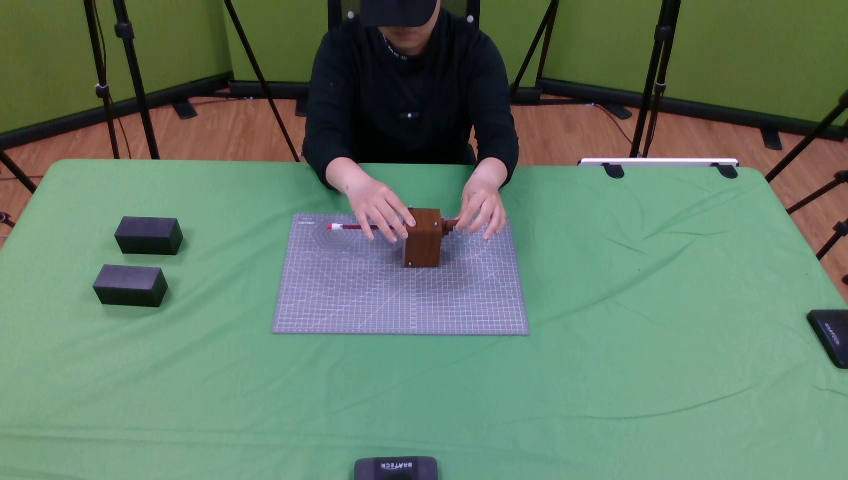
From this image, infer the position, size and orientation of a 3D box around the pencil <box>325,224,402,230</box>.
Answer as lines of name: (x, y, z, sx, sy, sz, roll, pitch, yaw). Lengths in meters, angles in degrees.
pencil: (-0.084, -0.023, 1.111, 0.194, 0.012, 0.012, 1, 45, -6)

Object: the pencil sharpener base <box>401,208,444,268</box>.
pencil sharpener base: (-0.004, -0.003, 1.137, 0.077, 0.107, 0.061, 0, 46, -5)

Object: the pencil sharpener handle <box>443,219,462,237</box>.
pencil sharpener handle: (0.050, -0.024, 1.106, 0.031, 0.068, 0.036, 0, 86, -5)
